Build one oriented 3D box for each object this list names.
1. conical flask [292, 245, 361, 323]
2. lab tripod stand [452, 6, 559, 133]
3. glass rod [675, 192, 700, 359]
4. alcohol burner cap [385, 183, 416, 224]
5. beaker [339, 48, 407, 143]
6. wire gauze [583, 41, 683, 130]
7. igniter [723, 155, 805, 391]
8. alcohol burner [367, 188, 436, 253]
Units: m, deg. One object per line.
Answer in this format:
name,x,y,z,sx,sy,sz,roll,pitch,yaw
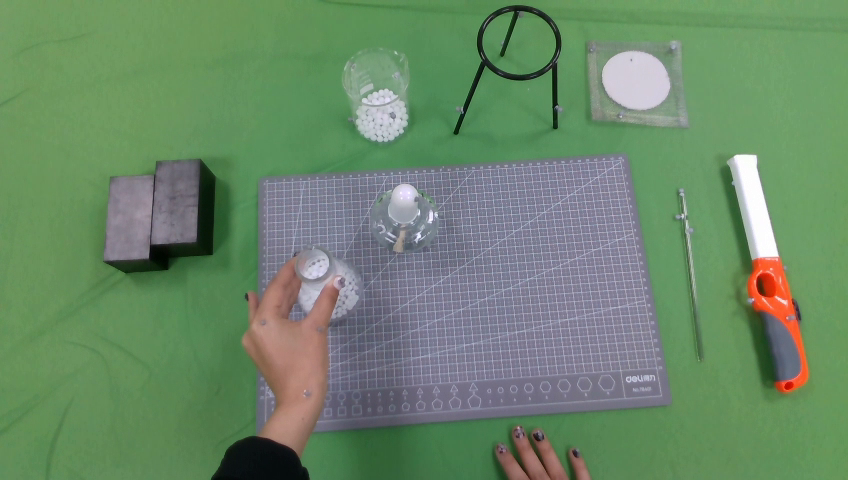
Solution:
conical flask,-0.107,0.040,0.631,0.075,0.122,0.075,0,73,-1
lab tripod stand,0.096,-0.189,0.702,0.148,0.132,0.147,0,75,0
glass rod,0.305,0.038,0.702,0.008,0.008,0.198,1,73,0
alcohol burner cap,-0.023,-0.041,0.628,0.034,0.048,0.033,3,66,-7
beaker,-0.054,-0.166,0.713,0.073,0.101,0.084,44,77,11
wire gauze,0.267,-0.201,0.772,0.125,0.011,0.121,3,74,-1
igniter,0.388,0.031,0.695,0.057,0.025,0.275,-1,74,-12
alcohol burner,-0.024,-0.028,0.662,0.078,0.119,0.077,1,72,-2
